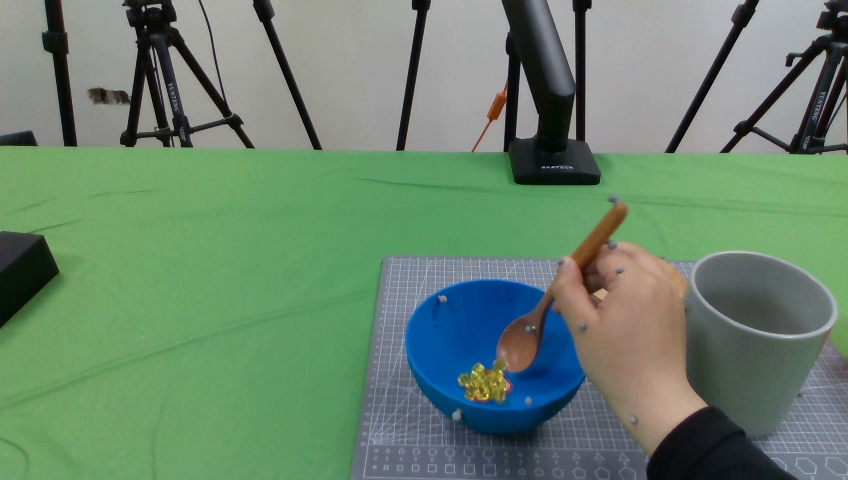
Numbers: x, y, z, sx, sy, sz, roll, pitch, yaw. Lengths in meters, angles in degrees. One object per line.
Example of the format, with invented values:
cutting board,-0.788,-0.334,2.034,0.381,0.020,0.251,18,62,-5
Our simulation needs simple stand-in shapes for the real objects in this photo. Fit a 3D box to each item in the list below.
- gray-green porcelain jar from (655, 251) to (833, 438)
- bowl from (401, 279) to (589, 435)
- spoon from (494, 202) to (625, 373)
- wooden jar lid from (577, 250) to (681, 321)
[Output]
gray-green porcelain jar,0.253,0.089,0.496,0.106,0.127,0.105,0,35,0
bowl,0.056,0.109,0.509,0.151,0.077,0.150,0,35,0
spoon,0.095,0.042,0.452,0.022,0.195,0.041,-3,52,-22
wooden jar lid,0.217,0.049,0.647,0.108,0.021,0.107,0,34,0
